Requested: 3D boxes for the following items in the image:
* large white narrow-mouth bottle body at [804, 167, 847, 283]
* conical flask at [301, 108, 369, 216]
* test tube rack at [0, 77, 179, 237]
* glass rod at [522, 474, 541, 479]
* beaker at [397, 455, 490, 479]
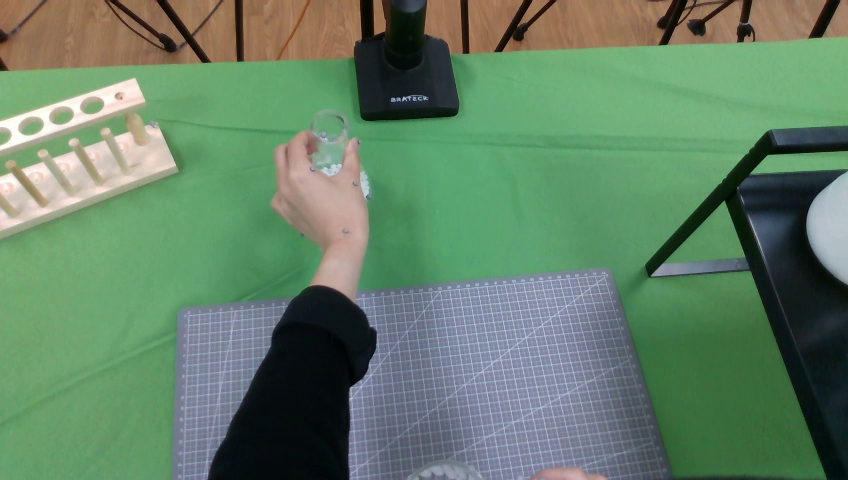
[{"bbox_3d":[0.356,-0.043,0.404,0.102,0.196,0.101,1,63,-2],"label":"large white narrow-mouth bottle body"},{"bbox_3d":[-0.095,-0.083,0.623,0.075,0.122,0.074,2,64,-3],"label":"conical flask"},{"bbox_3d":[-0.390,-0.074,0.612,0.242,0.086,0.066,-24,68,-16],"label":"test tube rack"},{"bbox_3d":[0.039,0.193,0.446,0.008,0.200,0.008,9,57,-14],"label":"glass rod"},{"bbox_3d":[0.011,0.220,0.493,0.084,0.101,0.073,16,63,4],"label":"beaker"}]
